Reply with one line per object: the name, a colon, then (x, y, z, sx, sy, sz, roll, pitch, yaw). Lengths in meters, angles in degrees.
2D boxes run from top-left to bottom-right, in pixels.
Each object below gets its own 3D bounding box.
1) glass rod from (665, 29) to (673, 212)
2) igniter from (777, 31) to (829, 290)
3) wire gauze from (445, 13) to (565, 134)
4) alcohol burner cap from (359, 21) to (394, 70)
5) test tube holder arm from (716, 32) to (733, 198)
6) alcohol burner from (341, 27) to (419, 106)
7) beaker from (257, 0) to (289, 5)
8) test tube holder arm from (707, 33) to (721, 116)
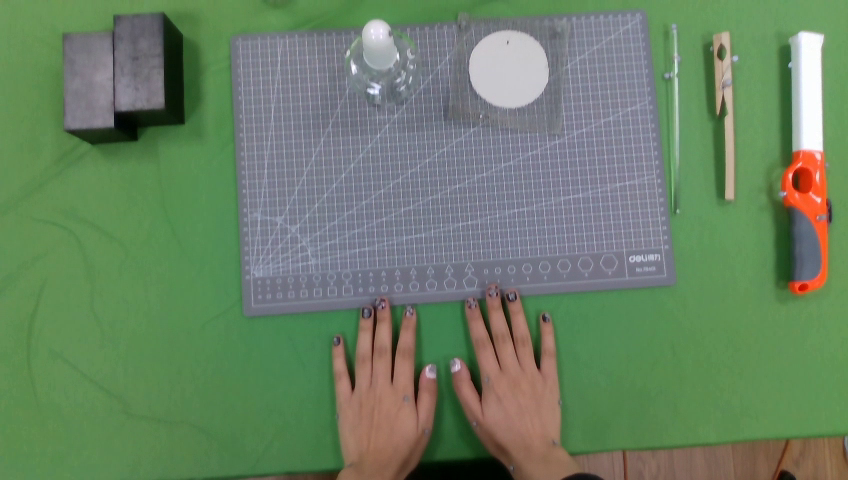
glass rod: (0.264, -0.129, 0.651, 0.008, 0.008, 0.199, 1, 87, -1)
igniter: (0.399, -0.084, 0.639, 0.057, 0.025, 0.276, 4, 84, -11)
wire gauze: (0.088, -0.181, 0.652, 0.125, 0.011, 0.121, 7, 85, -1)
alcohol burner cap: (-0.045, -0.183, 0.560, 0.034, 0.048, 0.033, 0, 78, -1)
test tube holder arm: (0.320, -0.133, 0.647, 0.013, 0.015, 0.178, -5, 84, 33)
alcohol burner: (-0.045, -0.177, 0.596, 0.078, 0.119, 0.077, 0, 84, 2)
beaker: (-0.166, -0.293, 0.616, 0.084, 0.100, 0.074, -12, 84, -1)
test tube holder arm: (0.314, -0.178, 0.653, 0.010, 0.015, 0.087, -5, 84, 33)
